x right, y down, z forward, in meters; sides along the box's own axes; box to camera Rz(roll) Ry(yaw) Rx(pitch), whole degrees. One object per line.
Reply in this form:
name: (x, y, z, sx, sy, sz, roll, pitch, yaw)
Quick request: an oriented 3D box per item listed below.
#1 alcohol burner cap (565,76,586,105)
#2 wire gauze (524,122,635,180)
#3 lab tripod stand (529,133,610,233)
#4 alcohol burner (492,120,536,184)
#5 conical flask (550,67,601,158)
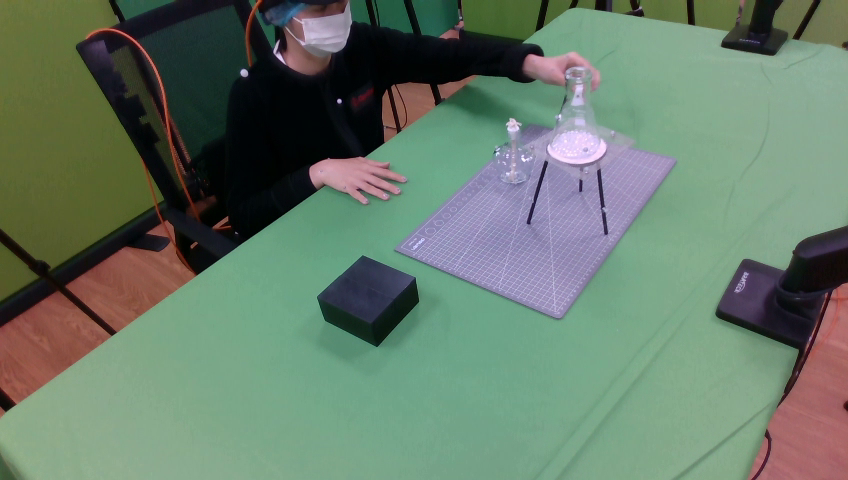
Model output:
alcohol burner cap: (0.276, -0.272, 1.095, 0.034, 0.048, 0.033, 2, 33, -1)
wire gauze: (0.233, -0.141, 0.913, 0.122, 0.011, 0.124, -31, 42, -26)
lab tripod stand: (0.236, -0.089, 0.953, 0.148, 0.132, 0.147, -5, 42, 5)
alcohol burner: (0.159, -0.158, 1.064, 0.078, 0.119, 0.077, -3, 41, 3)
conical flask: (0.221, -0.186, 0.875, 0.075, 0.122, 0.075, -5, 40, 5)
